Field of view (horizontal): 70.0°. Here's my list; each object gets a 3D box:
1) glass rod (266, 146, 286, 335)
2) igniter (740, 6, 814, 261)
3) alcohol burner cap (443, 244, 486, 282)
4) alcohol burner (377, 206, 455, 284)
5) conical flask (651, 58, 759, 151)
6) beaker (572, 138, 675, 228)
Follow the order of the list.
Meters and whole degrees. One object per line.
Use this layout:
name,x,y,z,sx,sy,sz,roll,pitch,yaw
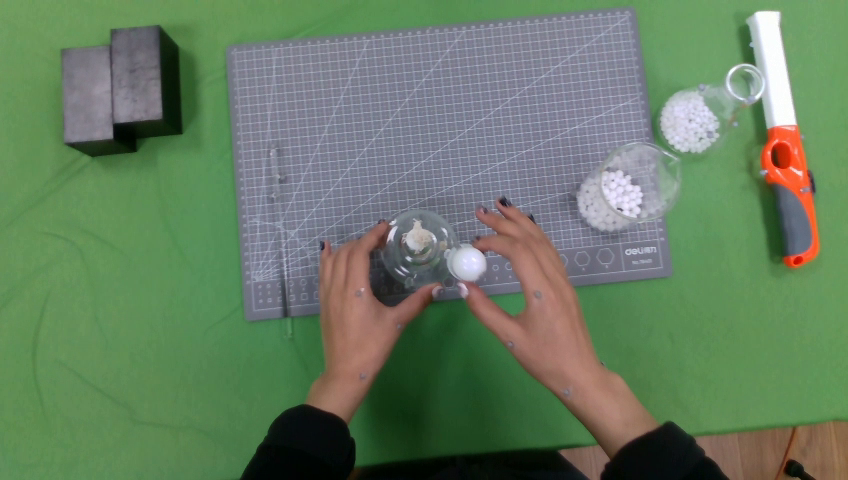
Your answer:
glass rod,-0.155,0.000,0.637,0.008,0.008,0.199,-5,87,-1
igniter,0.376,-0.115,0.646,0.057,0.025,0.275,-5,84,-12
alcohol burner cap,0.035,0.018,0.502,0.034,0.048,0.034,1,86,-9
alcohol burner,-0.009,0.002,0.585,0.078,0.119,0.077,0,83,2
conical flask,0.282,-0.138,0.600,0.075,0.122,0.075,0,83,0
beaker,0.193,-0.053,0.599,0.084,0.100,0.074,-30,85,-4
